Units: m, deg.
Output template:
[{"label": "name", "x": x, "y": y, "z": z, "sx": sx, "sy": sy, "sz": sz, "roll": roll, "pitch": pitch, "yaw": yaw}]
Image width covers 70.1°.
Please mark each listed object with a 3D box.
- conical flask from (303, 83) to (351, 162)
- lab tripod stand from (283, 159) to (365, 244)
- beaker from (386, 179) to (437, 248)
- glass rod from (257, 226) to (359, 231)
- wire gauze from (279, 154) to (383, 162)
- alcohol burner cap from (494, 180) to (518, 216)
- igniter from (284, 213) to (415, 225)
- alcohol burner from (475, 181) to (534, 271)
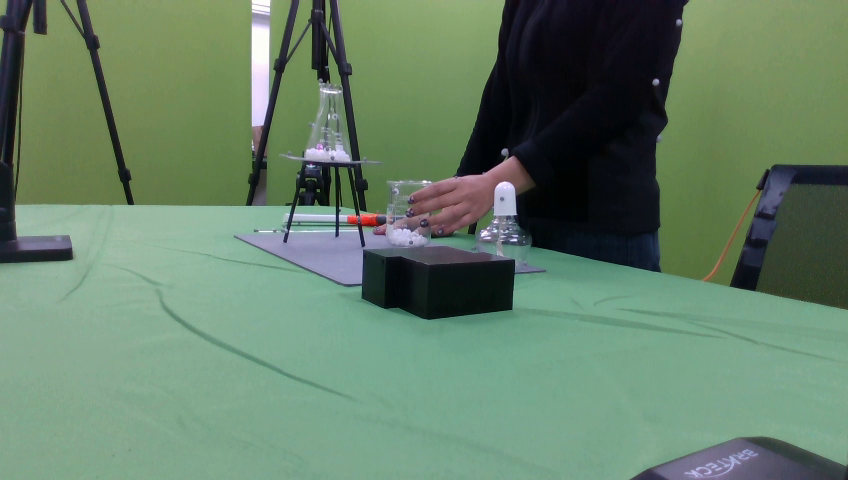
[{"label": "conical flask", "x": -0.152, "y": -0.186, "z": 0.963, "sx": 0.075, "sy": 0.122, "sz": 0.075, "roll": 4, "pitch": 6, "yaw": 0}, {"label": "lab tripod stand", "x": -0.151, "y": -0.063, "z": 0.983, "sx": 0.148, "sy": 0.131, "sz": 0.148, "roll": 4, "pitch": 7, "yaw": 0}, {"label": "beaker", "x": -0.024, "y": -0.042, "z": 0.929, "sx": 0.083, "sy": 0.100, "sz": 0.074, "roll": 10, "pitch": 12, "yaw": 43}, {"label": "glass rod", "x": -0.216, "y": -0.022, "z": 1.152, "sx": 0.201, "sy": 0.008, "sz": 0.008, "roll": -2, "pitch": 8, "yaw": -28}, {"label": "wire gauze", "x": -0.149, "y": -0.128, "z": 0.974, "sx": 0.124, "sy": 0.011, "sz": 0.122, "roll": 6, "pitch": 5, "yaw": 41}, {"label": "alcohol burner cap", "x": 0.108, "y": -0.055, "z": 0.800, "sx": 0.034, "sy": 0.048, "sz": 0.034, "roll": -2, "pitch": 3, "yaw": 0}, {"label": "igniter", "x": -0.154, "y": -0.045, "z": 1.282, "sx": 0.278, "sy": 0.025, "sz": 0.057, "roll": 0, "pitch": -3, "yaw": -20}, {"label": "alcohol burner", "x": 0.108, "y": -0.020, "z": 0.804, "sx": 0.078, "sy": 0.119, "sz": 0.078, "roll": 3, "pitch": 5, "yaw": 0}]
